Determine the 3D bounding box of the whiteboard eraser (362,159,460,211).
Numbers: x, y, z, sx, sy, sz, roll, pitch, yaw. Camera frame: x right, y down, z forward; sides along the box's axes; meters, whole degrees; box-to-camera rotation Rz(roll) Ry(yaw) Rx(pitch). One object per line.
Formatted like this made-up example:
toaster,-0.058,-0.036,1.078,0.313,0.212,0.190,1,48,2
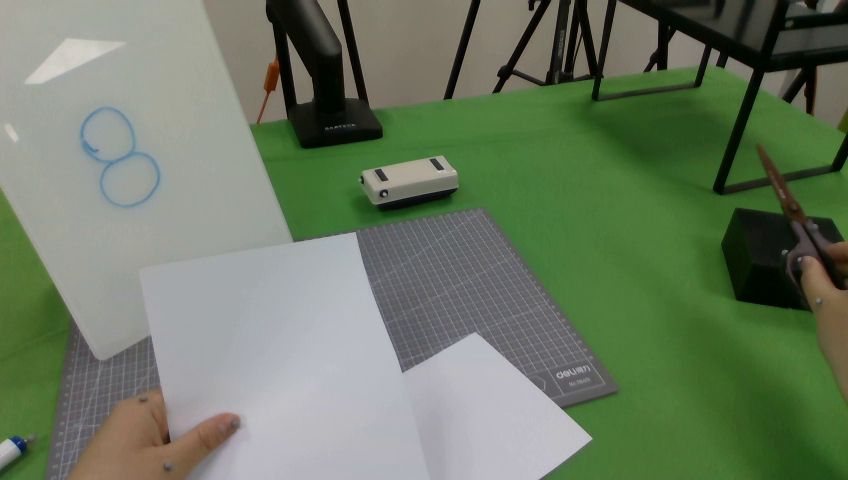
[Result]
whiteboard eraser,-0.016,-0.066,0.747,0.113,0.042,0.055,-12,41,-19

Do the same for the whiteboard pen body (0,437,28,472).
whiteboard pen body,-0.340,0.187,0.411,0.017,0.017,0.140,21,40,24

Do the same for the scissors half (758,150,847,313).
scissors half,0.333,-0.012,0.520,0.040,0.013,0.173,-12,58,-9

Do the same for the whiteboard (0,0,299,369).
whiteboard,-0.291,-0.077,0.583,0.217,0.307,0.143,-32,28,-36

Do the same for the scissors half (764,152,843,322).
scissors half,0.313,-0.010,0.520,0.040,0.013,0.173,0,58,5
